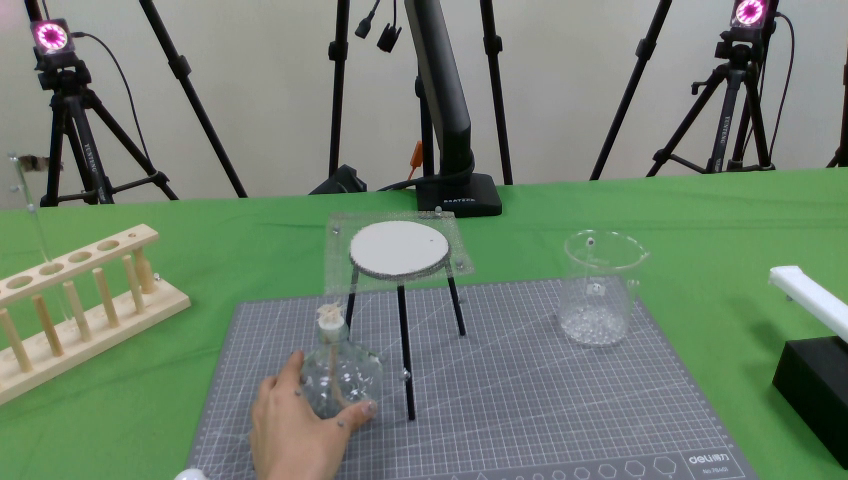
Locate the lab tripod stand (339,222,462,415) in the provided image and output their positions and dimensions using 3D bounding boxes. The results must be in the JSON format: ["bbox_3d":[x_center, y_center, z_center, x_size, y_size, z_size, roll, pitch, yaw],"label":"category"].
[{"bbox_3d":[-0.020,0.063,0.557,0.148,0.132,0.147,0,32,0],"label":"lab tripod stand"}]

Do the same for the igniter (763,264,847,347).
[{"bbox_3d":[0.380,0.094,0.506,0.057,0.025,0.274,-5,27,-5],"label":"igniter"}]

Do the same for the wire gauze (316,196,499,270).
[{"bbox_3d":[-0.018,-0.007,0.511,0.125,0.011,0.120,-8,27,-26],"label":"wire gauze"}]

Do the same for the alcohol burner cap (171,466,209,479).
[{"bbox_3d":[-0.170,0.187,0.444,0.034,0.048,0.033,1,32,0],"label":"alcohol burner cap"}]

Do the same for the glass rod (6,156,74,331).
[{"bbox_3d":[-0.366,0.011,0.580,0.008,0.201,0.008,3,33,-1],"label":"glass rod"}]

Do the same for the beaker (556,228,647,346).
[{"bbox_3d":[0.173,0.049,0.606,0.084,0.101,0.073,0,31,2],"label":"beaker"}]

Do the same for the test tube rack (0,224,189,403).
[{"bbox_3d":[-0.370,0.075,0.603,0.066,0.086,0.242,23,38,35],"label":"test tube rack"}]

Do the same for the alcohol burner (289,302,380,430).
[{"bbox_3d":[-0.076,0.102,0.513,0.078,0.120,0.077,1,30,0],"label":"alcohol burner"}]
